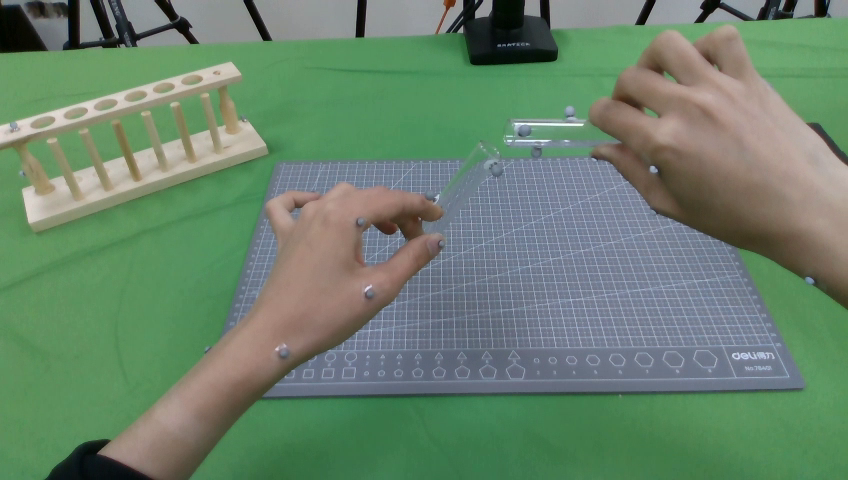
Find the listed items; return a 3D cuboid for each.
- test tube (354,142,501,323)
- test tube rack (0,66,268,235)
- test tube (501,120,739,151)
[{"bbox_3d":[-0.003,0.001,0.370,0.017,0.151,0.017,28,31,-18],"label":"test tube"},{"bbox_3d":[-0.297,-0.098,0.631,0.243,0.086,0.066,-23,47,-22],"label":"test tube rack"},{"bbox_3d":[0.115,-0.059,0.346,0.151,0.017,0.017,-3,42,-16],"label":"test tube"}]
